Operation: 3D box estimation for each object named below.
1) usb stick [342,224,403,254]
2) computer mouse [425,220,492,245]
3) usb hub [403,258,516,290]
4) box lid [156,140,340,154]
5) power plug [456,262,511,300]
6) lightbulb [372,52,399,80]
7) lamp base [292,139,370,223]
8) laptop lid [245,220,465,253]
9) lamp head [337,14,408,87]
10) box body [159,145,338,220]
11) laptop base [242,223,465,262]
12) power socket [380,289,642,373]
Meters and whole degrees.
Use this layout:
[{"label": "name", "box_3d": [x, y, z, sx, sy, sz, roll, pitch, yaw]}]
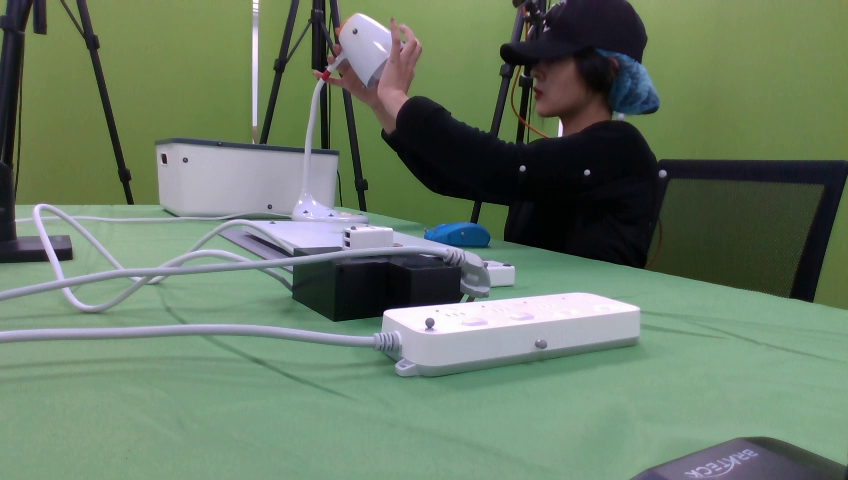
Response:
[{"label": "usb stick", "box_3d": [-0.047, -0.001, 0.567, 0.059, 0.027, 0.021, 0, 5, -32]}, {"label": "computer mouse", "box_3d": [0.060, -0.013, 1.060, 0.117, 0.041, 0.062, -2, 9, -6]}, {"label": "usb hub", "box_3d": [0.042, 0.038, 0.690, 0.126, 0.025, 0.049, -2, 10, -30]}, {"label": "box lid", "box_3d": [-0.409, -0.212, 1.404, 0.373, 0.015, 0.262, -2, 8, -32]}, {"label": "power plug", "box_3d": [0.051, 0.050, 0.543, 0.035, 0.052, 0.072, 7, 37, -20]}, {"label": "lightbulb", "box_3d": [-0.092, -0.358, 1.169, 0.059, 0.107, 0.059, -34, -7, -5]}, {"label": "lamp base", "box_3d": [-0.202, -0.121, 1.252, 0.179, 0.180, 0.161, 1, 6, 18]}, {"label": "laptop lid", "box_3d": [-0.124, -0.009, 0.945, 0.243, 0.013, 0.355, 1, 7, -29]}, {"label": "lamp head", "box_3d": [-0.111, -0.373, 1.174, 0.123, 0.112, 0.112, 42, 11, 2]}, {"label": "box body", "box_3d": [-0.410, -0.139, 1.414, 0.366, 0.160, 0.253, -3, 8, -33]}, {"label": "laptop base", "box_3d": [-0.126, 0.003, 0.946, 0.237, 0.023, 0.352, 2, 6, -31]}, {"label": "power socket", "box_3d": [0.072, 0.064, 0.461, 0.228, 0.032, 0.072, -2, 8, -30]}]
